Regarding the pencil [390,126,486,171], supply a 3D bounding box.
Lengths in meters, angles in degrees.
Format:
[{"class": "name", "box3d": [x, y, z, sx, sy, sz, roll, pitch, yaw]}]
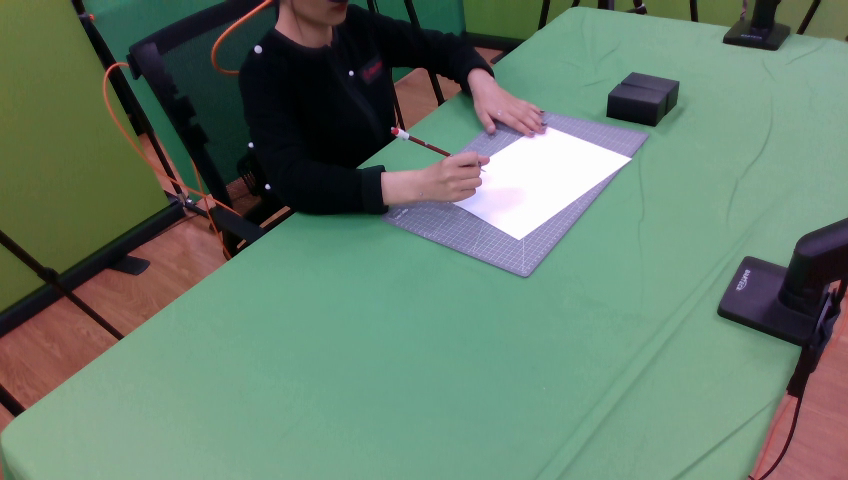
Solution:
[{"class": "pencil", "box3d": [0.028, -0.144, 0.975, 0.196, 0.012, 0.012, 18, 27, -34]}]
